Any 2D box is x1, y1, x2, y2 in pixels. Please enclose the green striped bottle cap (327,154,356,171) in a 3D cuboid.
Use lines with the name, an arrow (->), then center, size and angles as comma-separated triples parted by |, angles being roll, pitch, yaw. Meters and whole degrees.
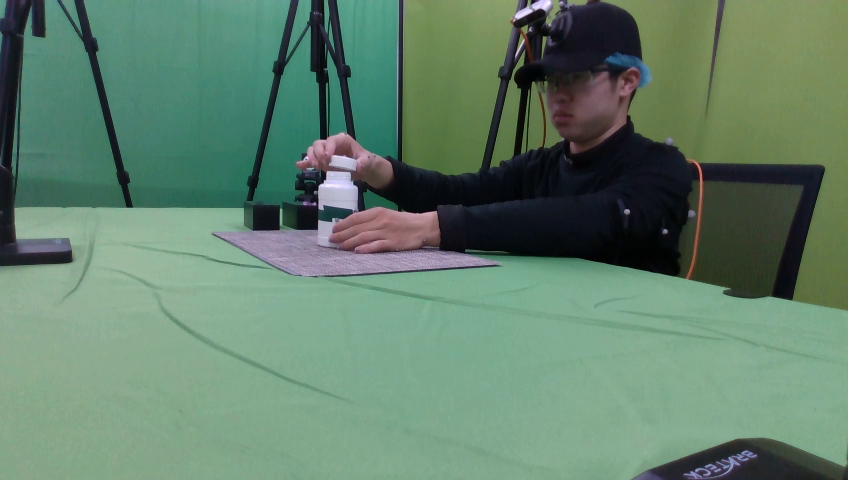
green striped bottle cap -> -0.132, -0.124, 0.965 | 0.044, 0.020, 0.044 | 10, 1, 0

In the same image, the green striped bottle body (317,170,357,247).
green striped bottle body -> -0.138, -0.051, 0.964 | 0.063, 0.119, 0.063 | 2, 7, 0
